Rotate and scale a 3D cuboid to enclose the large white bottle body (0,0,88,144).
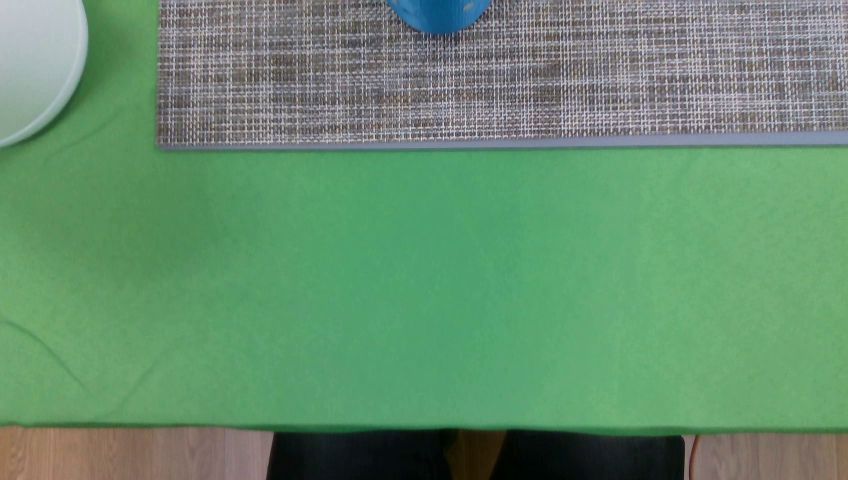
[{"bbox_3d":[-0.263,-0.124,0.268,0.130,0.185,0.130,0,86,2],"label":"large white bottle body"}]
